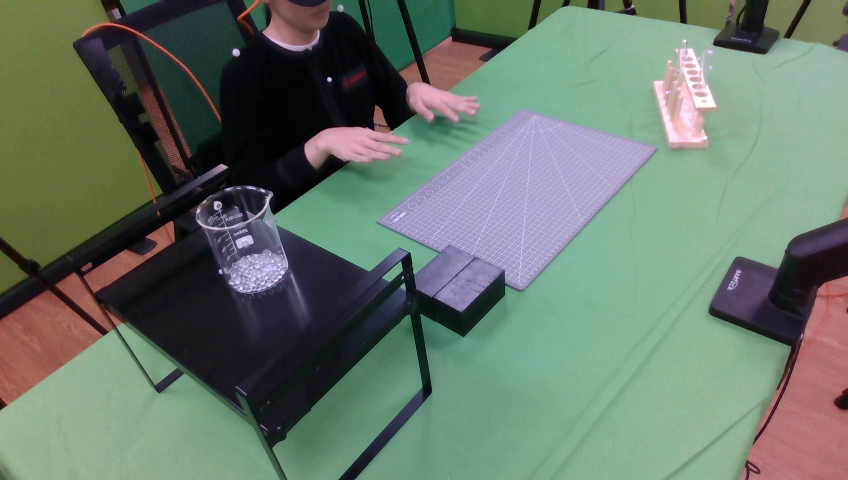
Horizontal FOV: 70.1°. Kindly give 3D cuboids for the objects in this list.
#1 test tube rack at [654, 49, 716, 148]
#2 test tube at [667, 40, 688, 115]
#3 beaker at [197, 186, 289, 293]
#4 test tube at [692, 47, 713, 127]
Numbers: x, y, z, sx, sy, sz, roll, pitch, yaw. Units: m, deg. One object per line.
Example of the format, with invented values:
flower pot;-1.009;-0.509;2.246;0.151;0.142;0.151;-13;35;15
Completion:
test tube rack;0.502;-0.281;1.176;0.066;0.085;0.241;1;41;11
test tube;0.477;-0.303;1.138;0.017;0.151;0.017;-5;42;5
beaker;-0.192;0.001;0.666;0.084;0.101;0.073;-33;47;-27
test tube;0.501;-0.272;1.090;0.017;0.151;0.017;-5;37;4
